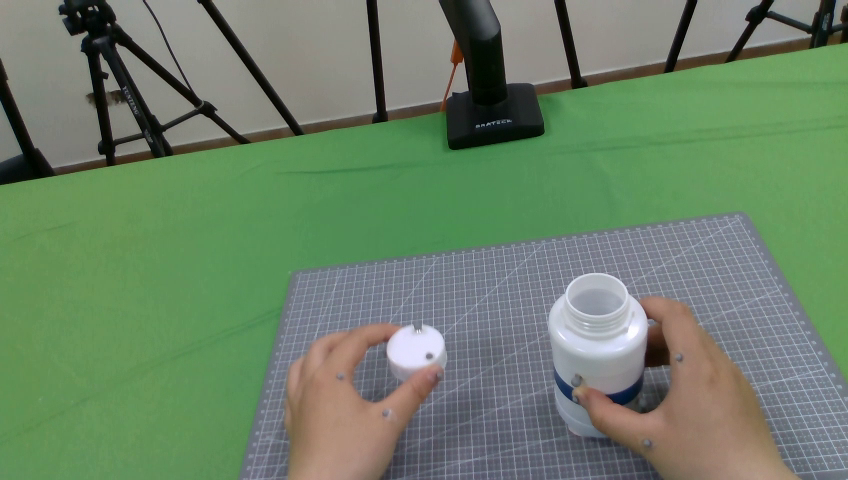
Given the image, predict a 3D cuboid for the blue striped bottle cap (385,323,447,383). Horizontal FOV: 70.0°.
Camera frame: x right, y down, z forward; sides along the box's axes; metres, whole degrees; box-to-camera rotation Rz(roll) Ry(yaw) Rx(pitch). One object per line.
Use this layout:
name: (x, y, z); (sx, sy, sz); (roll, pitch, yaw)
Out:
blue striped bottle cap: (-0.006, 0.083, 0.449); (0.044, 0.021, 0.044); (-6, 36, 5)

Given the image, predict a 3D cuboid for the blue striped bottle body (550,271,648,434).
blue striped bottle body: (0.119, 0.076, 0.416); (0.063, 0.122, 0.062); (-7, 42, 7)
